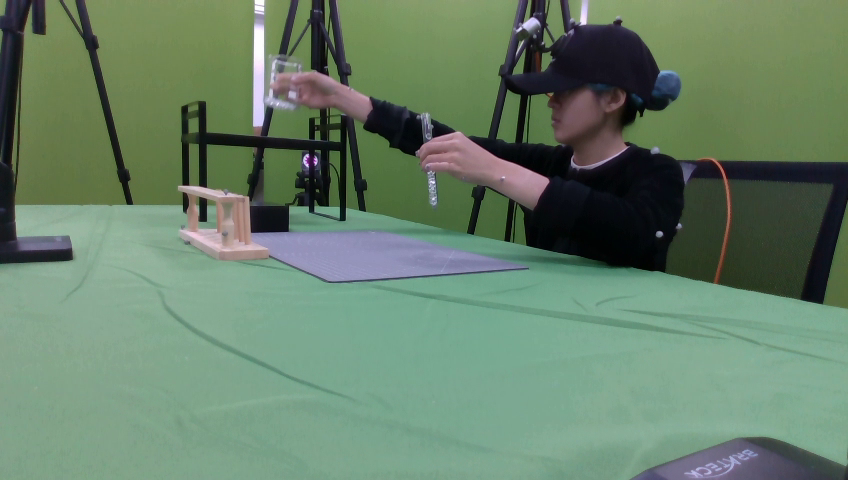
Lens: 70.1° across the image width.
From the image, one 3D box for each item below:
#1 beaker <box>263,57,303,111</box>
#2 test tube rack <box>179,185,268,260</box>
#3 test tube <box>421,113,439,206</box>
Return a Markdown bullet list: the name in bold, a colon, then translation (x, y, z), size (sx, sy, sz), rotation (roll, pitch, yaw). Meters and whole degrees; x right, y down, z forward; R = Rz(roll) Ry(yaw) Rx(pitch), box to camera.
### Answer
- **beaker**: translation (-0.299, -0.326, 1.270), size (0.074, 0.100, 0.084), rotation (10, 5, 22)
- **test tube rack**: translation (-0.303, -0.031, 0.898), size (0.067, 0.085, 0.241), rotation (-2, 9, -33)
- **test tube**: translation (0.010, -0.129, 0.969), size (0.017, 0.150, 0.017), rotation (-5, -1, 0)
